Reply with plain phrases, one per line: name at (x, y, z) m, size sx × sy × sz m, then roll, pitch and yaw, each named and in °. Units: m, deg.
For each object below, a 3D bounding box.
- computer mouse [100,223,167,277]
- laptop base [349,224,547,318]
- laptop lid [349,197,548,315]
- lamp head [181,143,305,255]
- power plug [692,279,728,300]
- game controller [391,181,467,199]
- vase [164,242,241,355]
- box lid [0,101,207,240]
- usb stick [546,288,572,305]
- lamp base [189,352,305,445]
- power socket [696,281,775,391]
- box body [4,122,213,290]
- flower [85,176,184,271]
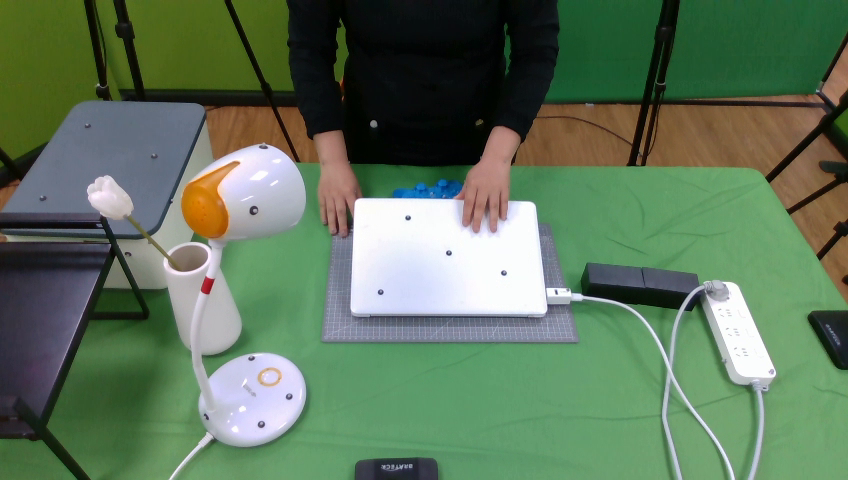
computer mouse at (-0.539, 0.015, 1.122) m, size 0.062 × 0.041 × 0.117 m, roll 30°, pitch 57°, yaw 18°
laptop base at (0.040, 0.056, 1.149) m, size 0.355 × 0.023 × 0.234 m, roll 0°, pitch 43°, yaw -4°
laptop lid at (0.043, 0.025, 1.110) m, size 0.357 × 0.013 × 0.240 m, roll 2°, pitch 64°, yaw -4°
lamp head at (-0.216, -0.044, 0.697) m, size 0.112 × 0.113 × 0.123 m, roll 23°, pitch 31°, yaw 17°
power plug at (0.522, 0.091, 1.115) m, size 0.072 × 0.053 × 0.035 m, roll 10°, pitch 47°, yaw 8°
game controller at (0.016, -0.091, 1.273) m, size 0.155 × 0.052 × 0.096 m, roll -11°, pitch 50°, yaw -14°
vase at (-0.349, 0.096, 0.954) m, size 0.098 × 0.201 × 0.097 m, roll 3°, pitch 47°, yaw -3°
box lid at (-0.559, -0.137, 1.084) m, size 0.263 × 0.015 × 0.369 m, roll 2°, pitch 46°, yaw -2°
usb stick at (0.236, 0.103, 1.101) m, size 0.059 × 0.027 × 0.021 m, roll -2°, pitch 47°, yaw 1°
lamp base at (-0.268, 0.196, 0.876) m, size 0.160 × 0.181 × 0.179 m, roll 26°, pitch 52°, yaw 20°
power socket at (0.550, 0.160, 1.078) m, size 0.072 × 0.033 × 0.225 m, roll 2°, pitch 46°, yaw -2°
box body at (-0.563, -0.086, 1.138) m, size 0.254 × 0.161 × 0.361 m, roll 2°, pitch 46°, yaw -3°
flower at (-0.365, 0.038, 0.894) m, size 0.038 × 0.364 × 0.044 m, roll -5°, pitch 53°, yaw 14°
